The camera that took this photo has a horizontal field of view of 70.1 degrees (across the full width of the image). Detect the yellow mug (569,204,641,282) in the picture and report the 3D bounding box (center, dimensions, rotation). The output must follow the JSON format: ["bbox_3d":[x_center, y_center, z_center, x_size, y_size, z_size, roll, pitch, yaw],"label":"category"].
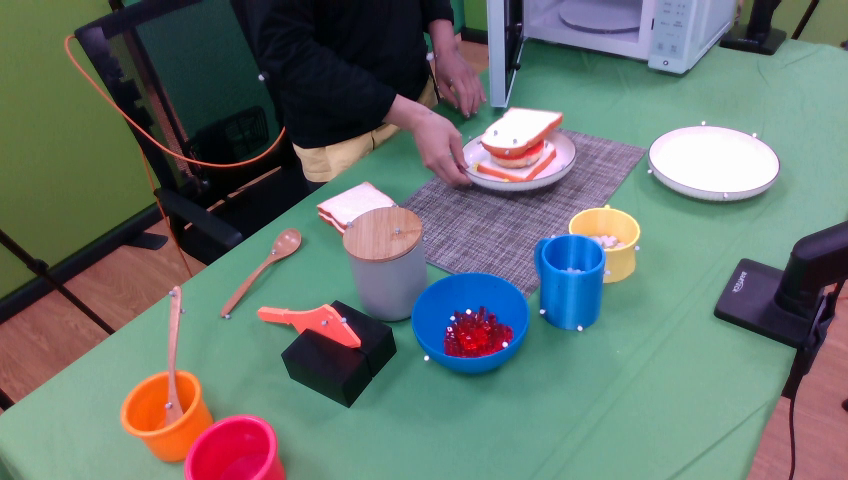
[{"bbox_3d":[0.268,-0.005,0.904,0.099,0.064,0.130,7,41,15],"label":"yellow mug"}]

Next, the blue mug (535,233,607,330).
[{"bbox_3d":[0.191,0.048,0.824,0.082,0.106,0.115,-26,44,-20],"label":"blue mug"}]

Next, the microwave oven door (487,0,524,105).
[{"bbox_3d":[0.181,-0.488,1.314,0.039,0.245,0.355,4,42,13],"label":"microwave oven door"}]

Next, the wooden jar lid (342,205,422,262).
[{"bbox_3d":[-0.055,-0.006,0.808,0.108,0.021,0.108,-6,41,6],"label":"wooden jar lid"}]

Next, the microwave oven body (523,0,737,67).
[{"bbox_3d":[0.475,-0.602,1.411,0.438,0.261,0.327,23,50,32],"label":"microwave oven body"}]

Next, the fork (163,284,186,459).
[{"bbox_3d":[-0.302,0.157,0.733,0.028,0.019,0.207,-3,84,14],"label":"fork"}]

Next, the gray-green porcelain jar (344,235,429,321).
[{"bbox_3d":[-0.049,0.042,0.849,0.106,0.127,0.105,-4,41,4],"label":"gray-green porcelain jar"}]

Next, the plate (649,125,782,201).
[{"bbox_3d":[0.493,-0.128,1.036,0.207,0.039,0.206,-4,41,4],"label":"plate"}]

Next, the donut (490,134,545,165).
[{"bbox_3d":[0.162,-0.168,1.058,0.099,0.048,0.098,-5,38,5],"label":"donut"}]

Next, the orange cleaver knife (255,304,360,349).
[{"bbox_3d":[-0.161,0.115,0.813,0.210,0.077,0.012,-4,32,47],"label":"orange cleaver knife"}]

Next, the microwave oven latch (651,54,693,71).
[{"bbox_3d":[0.532,-0.386,1.301,0.078,0.029,0.030,26,51,33],"label":"microwave oven latch"}]

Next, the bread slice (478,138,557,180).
[{"bbox_3d":[0.173,-0.152,1.083,0.104,0.019,0.132,21,46,34],"label":"bread slice"}]

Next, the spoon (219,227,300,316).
[{"bbox_3d":[-0.261,0.046,0.954,0.041,0.021,0.194,27,48,10],"label":"spoon"}]

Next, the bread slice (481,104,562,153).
[{"bbox_3d":[0.163,-0.192,1.039,0.106,0.018,0.134,13,46,36],"label":"bread slice"}]

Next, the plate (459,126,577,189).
[{"bbox_3d":[0.166,-0.145,1.074,0.209,0.038,0.208,-5,37,5],"label":"plate"}]

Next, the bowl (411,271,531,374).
[{"bbox_3d":[0.062,0.119,0.780,0.151,0.077,0.150,-4,40,4],"label":"bowl"}]
